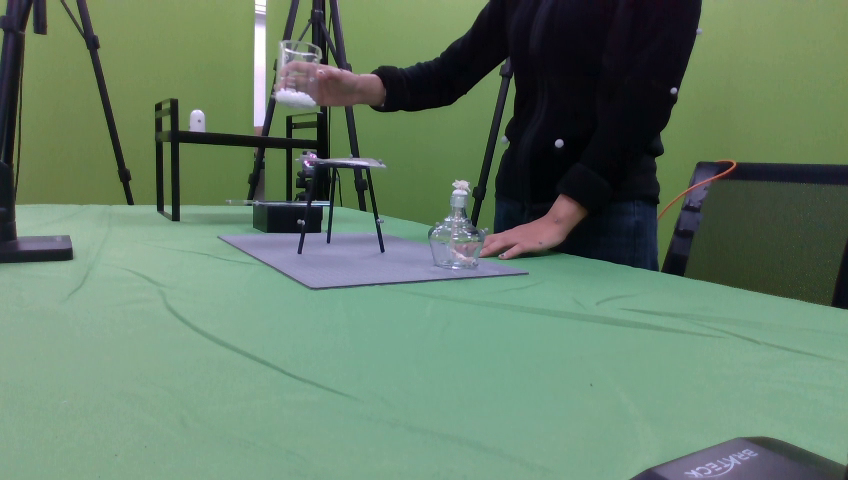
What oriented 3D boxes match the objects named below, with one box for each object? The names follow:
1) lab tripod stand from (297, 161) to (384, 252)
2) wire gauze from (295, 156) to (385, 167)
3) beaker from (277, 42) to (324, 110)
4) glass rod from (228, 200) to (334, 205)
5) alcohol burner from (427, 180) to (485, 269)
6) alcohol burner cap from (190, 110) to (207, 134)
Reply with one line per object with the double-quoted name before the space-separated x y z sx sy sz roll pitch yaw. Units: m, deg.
"lab tripod stand" -0.130 -0.051 0.903 0.148 0.131 0.148 4 9 0
"wire gauze" -0.128 -0.118 0.901 0.125 0.011 0.121 0 8 -14
"beaker" -0.212 -0.278 1.037 0.084 0.100 0.073 2 4 -45
"glass rod" -0.268 -0.071 1.148 0.201 0.008 0.008 -1 8 -28
"alcohol burner" 0.044 -0.021 0.807 0.078 0.119 0.078 4 6 0
"alcohol burner cap" -0.463 -0.242 1.240 0.034 0.048 0.034 1 7 0
